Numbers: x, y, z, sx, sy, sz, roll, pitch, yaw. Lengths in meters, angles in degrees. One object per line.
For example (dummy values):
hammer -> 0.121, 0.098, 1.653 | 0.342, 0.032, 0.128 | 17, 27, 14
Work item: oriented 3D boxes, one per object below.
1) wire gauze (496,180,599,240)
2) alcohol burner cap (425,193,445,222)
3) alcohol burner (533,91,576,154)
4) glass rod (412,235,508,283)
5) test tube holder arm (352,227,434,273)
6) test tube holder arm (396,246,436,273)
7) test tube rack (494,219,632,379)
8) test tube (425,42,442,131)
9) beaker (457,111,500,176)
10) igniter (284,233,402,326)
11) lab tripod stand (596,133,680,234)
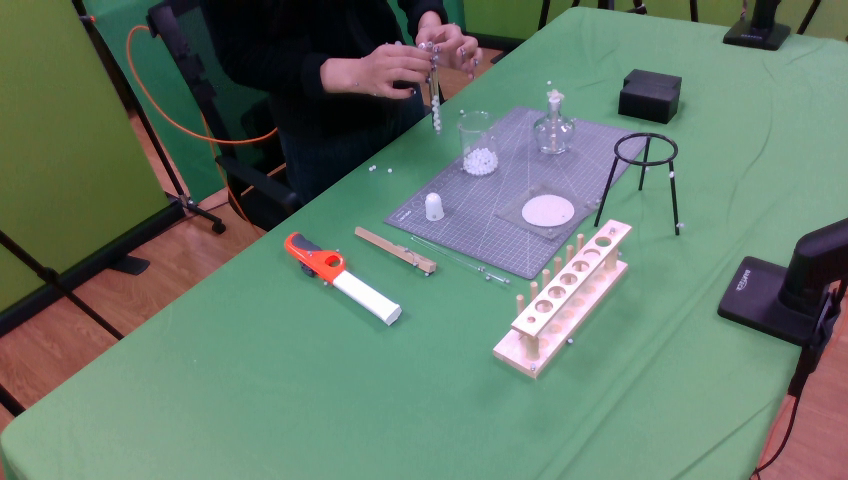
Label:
wire gauze -> 0.206, -0.050, 1.012 | 0.125, 0.011, 0.120 | -34, 45, -26
alcohol burner cap -> 0.017, -0.058, 1.029 | 0.034, 0.048, 0.033 | -6, 40, 5
alcohol burner -> 0.243, -0.222, 1.124 | 0.078, 0.119, 0.077 | -4, 39, 4
glass rod -> 0.051, 0.028, 0.951 | 0.198, 0.008, 0.008 | 25, 51, 37
test tube holder arm -> -0.054, 0.014, 0.978 | 0.177, 0.015, 0.013 | 24, 14, 34
test tube holder arm -> -0.016, 0.029, 0.957 | 0.087, 0.015, 0.010 | 25, 15, 35
test tube rack -> 0.191, 0.068, 0.818 | 0.066, 0.085, 0.243 | 25, 51, 35
test tube -> 0.016, -0.247, 0.986 | 0.017, 0.151, 0.017 | -4, 37, 4
beaker -> 0.104, -0.176, 1.108 | 0.073, 0.101, 0.084 | 16, 46, 27
igniter -> -0.136, 0.054, 0.942 | 0.274, 0.025, 0.057 | 30, 63, 37
lab tripod stand -> 0.338, -0.091, 0.940 | 0.148, 0.132, 0.147 | -7, 39, 6
